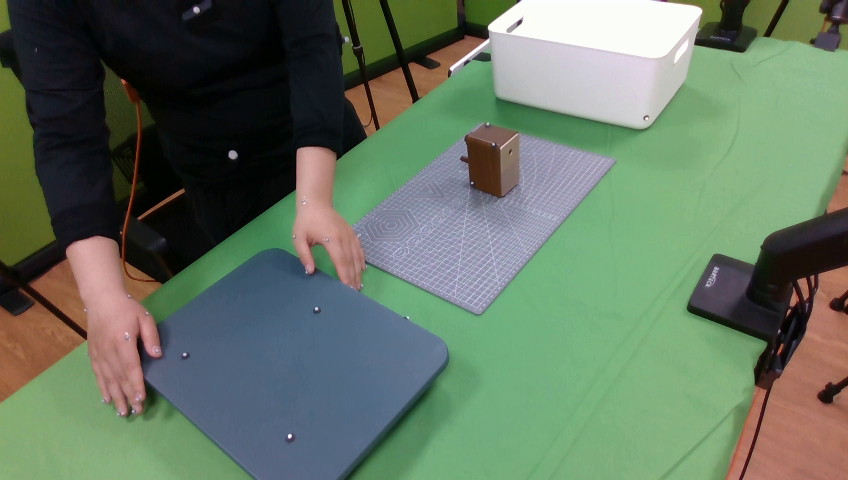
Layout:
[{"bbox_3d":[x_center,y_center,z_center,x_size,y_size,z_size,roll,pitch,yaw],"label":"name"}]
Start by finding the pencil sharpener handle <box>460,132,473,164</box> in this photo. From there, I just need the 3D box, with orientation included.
[{"bbox_3d":[0.077,-0.163,1.062,0.030,0.068,0.036,23,44,32],"label":"pencil sharpener handle"}]

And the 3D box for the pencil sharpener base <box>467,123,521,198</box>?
[{"bbox_3d":[0.119,-0.138,1.044,0.076,0.107,0.061,23,50,32],"label":"pencil sharpener base"}]

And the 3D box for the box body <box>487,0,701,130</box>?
[{"bbox_3d":[0.345,-0.379,1.257,0.361,0.161,0.255,20,48,29],"label":"box body"}]

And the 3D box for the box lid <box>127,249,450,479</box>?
[{"bbox_3d":[-0.177,0.145,0.768,0.368,0.015,0.264,24,50,32],"label":"box lid"}]
